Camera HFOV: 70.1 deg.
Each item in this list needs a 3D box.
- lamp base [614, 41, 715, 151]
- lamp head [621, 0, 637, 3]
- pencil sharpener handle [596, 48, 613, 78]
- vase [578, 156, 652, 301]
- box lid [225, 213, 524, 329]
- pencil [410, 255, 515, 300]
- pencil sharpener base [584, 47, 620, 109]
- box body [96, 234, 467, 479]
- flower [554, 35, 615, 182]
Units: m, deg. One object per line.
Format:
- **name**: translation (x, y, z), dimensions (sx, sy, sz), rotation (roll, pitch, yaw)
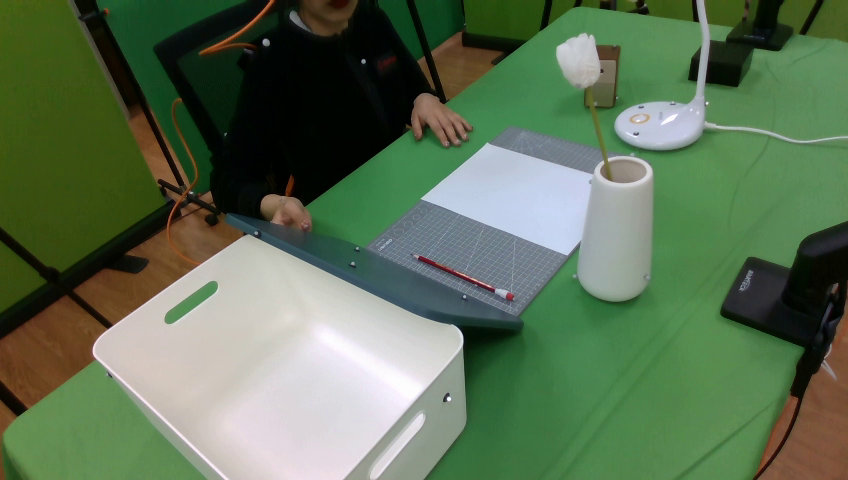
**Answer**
- **lamp base**: translation (0.449, -0.277, 1.106), dimensions (0.179, 0.181, 0.160), rotation (1, 41, 9)
- **lamp head**: translation (0.319, -0.453, 0.962), dimensions (0.113, 0.123, 0.112), rotation (20, 33, -13)
- **pencil sharpener handle**: translation (0.383, -0.378, 1.276), dimensions (0.036, 0.068, 0.030), rotation (2, 41, 22)
- **vase**: translation (0.261, -0.011, 0.812), dimensions (0.098, 0.201, 0.097), rotation (-4, 40, 4)
- **box lid**: translation (-0.066, 0.042, 0.816), dimensions (0.368, 0.265, 0.015), rotation (22, 93, 32)
- **pencil**: translation (0.054, 0.054, 0.918), dimensions (0.192, 0.012, 0.012), rotation (21, 48, 33)
- **pencil sharpener base**: translation (0.367, -0.336, 1.248), dimensions (0.061, 0.107, 0.076), rotation (6, 42, 19)
- **box body**: translation (-0.155, 0.169, 0.707), dimensions (0.361, 0.161, 0.255), rotation (23, 49, 33)
- **flower**: translation (0.237, -0.083, 0.774), dimensions (0.044, 0.363, 0.038), rotation (-22, 26, 7)
